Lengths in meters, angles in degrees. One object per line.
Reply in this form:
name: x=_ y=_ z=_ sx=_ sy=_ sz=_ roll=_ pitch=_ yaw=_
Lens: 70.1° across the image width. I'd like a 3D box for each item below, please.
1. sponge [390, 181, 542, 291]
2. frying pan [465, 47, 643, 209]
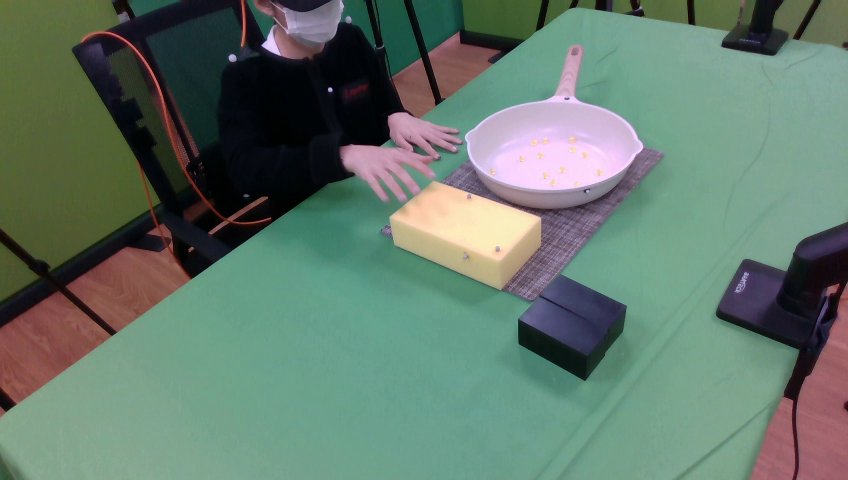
sponge: x=0.065 y=-0.012 z=0.945 sx=0.205 sy=0.061 sz=0.118 roll=22 pitch=49 yaw=30
frying pan: x=0.255 y=-0.228 z=1.135 sx=0.305 sy=0.103 sz=0.487 roll=9 pitch=51 yaw=17
